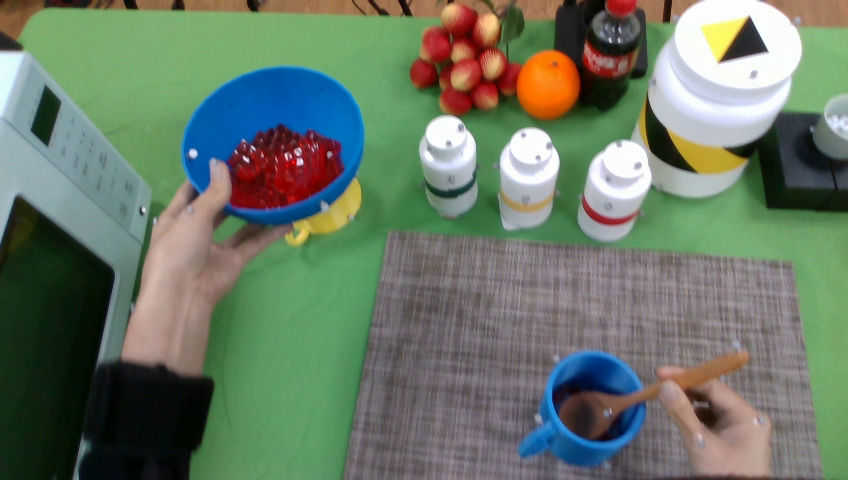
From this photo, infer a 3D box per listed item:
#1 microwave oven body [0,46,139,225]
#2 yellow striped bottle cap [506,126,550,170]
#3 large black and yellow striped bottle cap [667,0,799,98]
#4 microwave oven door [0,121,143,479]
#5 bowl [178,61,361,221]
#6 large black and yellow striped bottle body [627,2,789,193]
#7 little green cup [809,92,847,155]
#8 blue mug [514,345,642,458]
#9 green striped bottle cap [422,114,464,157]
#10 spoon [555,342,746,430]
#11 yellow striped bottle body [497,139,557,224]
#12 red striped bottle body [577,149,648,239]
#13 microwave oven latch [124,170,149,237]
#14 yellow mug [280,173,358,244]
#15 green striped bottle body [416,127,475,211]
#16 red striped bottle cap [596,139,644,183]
[{"bbox_3d":[-0.502,0.082,0.569,0.326,0.262,0.438,-4,64,3],"label":"microwave oven body"},{"bbox_3d":[0.107,-0.095,0.622,0.044,0.019,0.044,-2,65,5],"label":"yellow striped bottle cap"},{"bbox_3d":[0.293,-0.185,0.577,0.115,0.019,0.114,-2,62,5],"label":"large black and yellow striped bottle cap"},{"bbox_3d":[-0.355,0.107,0.536,0.039,0.246,0.352,-4,63,5],"label":"microwave oven door"},{"bbox_3d":[-0.125,-0.073,0.530,0.151,0.077,0.150,-1,64,3],"label":"bowl"},{"bbox_3d":[0.302,-0.149,0.653,0.131,0.185,0.129,-2,63,5],"label":"large black and yellow striped bottle body"},{"bbox_3d":[0.450,-0.123,0.651,0.061,0.039,0.061,-2,62,4],"label":"little green cup"},{"bbox_3d":[0.133,0.159,0.556,0.116,0.107,0.081,-28,64,-8],"label":"blue mug"},{"bbox_3d":[0.020,-0.111,0.638,0.044,0.020,0.044,-2,63,4],"label":"green striped bottle cap"},{"bbox_3d":[0.180,0.123,0.505,0.022,0.194,0.041,-6,68,-35],"label":"spoon"},{"bbox_3d":[0.113,-0.073,0.668,0.063,0.121,0.062,-3,62,5],"label":"yellow striped bottle body"},{"bbox_3d":[0.202,-0.055,0.652,0.063,0.121,0.062,-3,62,6],"label":"red striped bottle body"},{"bbox_3d":[-0.351,-0.043,0.724,0.030,0.030,0.078,-3,64,4],"label":"microwave oven latch"},{"bbox_3d":[-0.138,-0.056,0.715,0.099,0.064,0.130,14,67,12],"label":"yellow mug"},{"bbox_3d":[0.026,-0.087,0.685,0.063,0.120,0.062,-2,63,5],"label":"green striped bottle body"},{"bbox_3d":[0.196,-0.079,0.605,0.044,0.018,0.044,0,62,1],"label":"red striped bottle cap"}]
